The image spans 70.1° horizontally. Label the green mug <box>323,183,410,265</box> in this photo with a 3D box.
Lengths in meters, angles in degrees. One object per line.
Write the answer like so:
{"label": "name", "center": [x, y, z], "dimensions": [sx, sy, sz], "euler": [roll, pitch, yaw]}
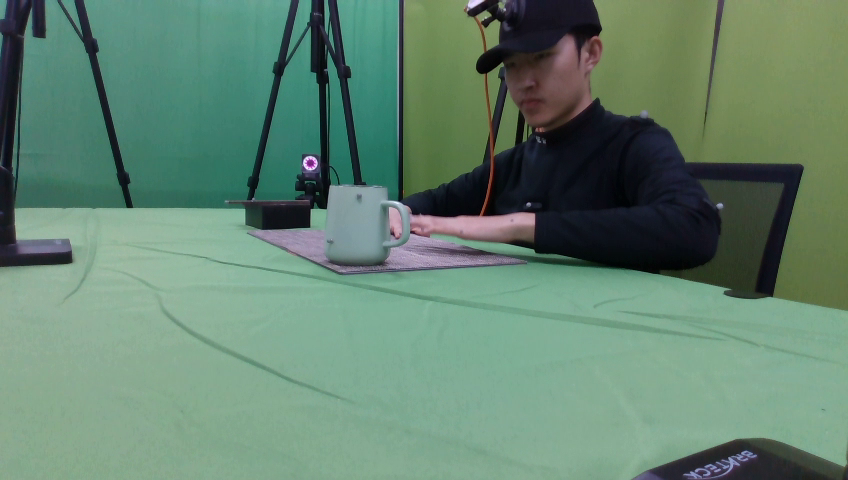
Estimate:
{"label": "green mug", "center": [-0.076, -0.022, 0.817], "dimensions": [0.125, 0.105, 0.093], "euler": [5, 7, 26]}

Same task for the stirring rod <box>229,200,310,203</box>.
{"label": "stirring rod", "center": [-0.314, -0.079, 1.240], "dimensions": [0.177, 0.006, 0.014], "euler": [-4, 7, -40]}
